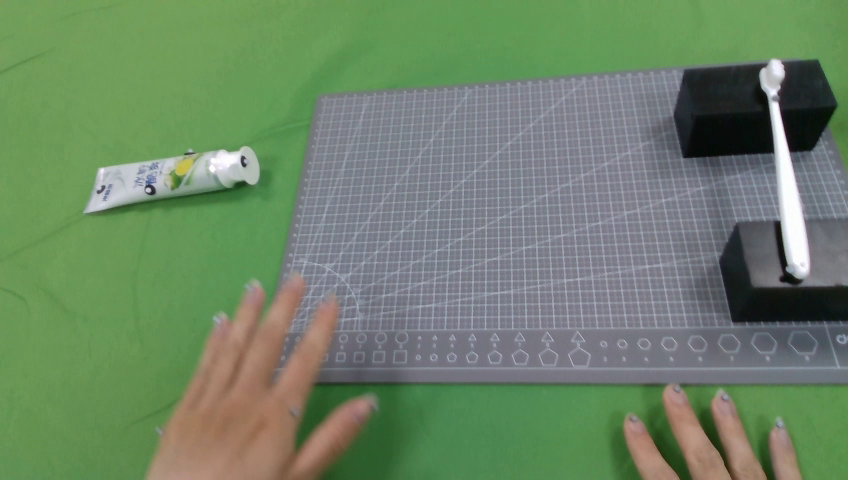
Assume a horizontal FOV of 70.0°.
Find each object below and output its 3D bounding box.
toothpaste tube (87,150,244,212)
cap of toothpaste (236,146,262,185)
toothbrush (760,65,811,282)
[{"bbox_3d":[-0.236,-0.060,0.565,0.165,0.035,0.054,-7,53,10],"label":"toothpaste tube"},{"bbox_3d":[-0.159,-0.067,0.549,0.011,0.038,0.037,-7,56,11],"label":"cap of toothpaste"},{"bbox_3d":[0.248,-0.053,0.415,0.014,0.017,0.180,12,61,0],"label":"toothbrush"}]
